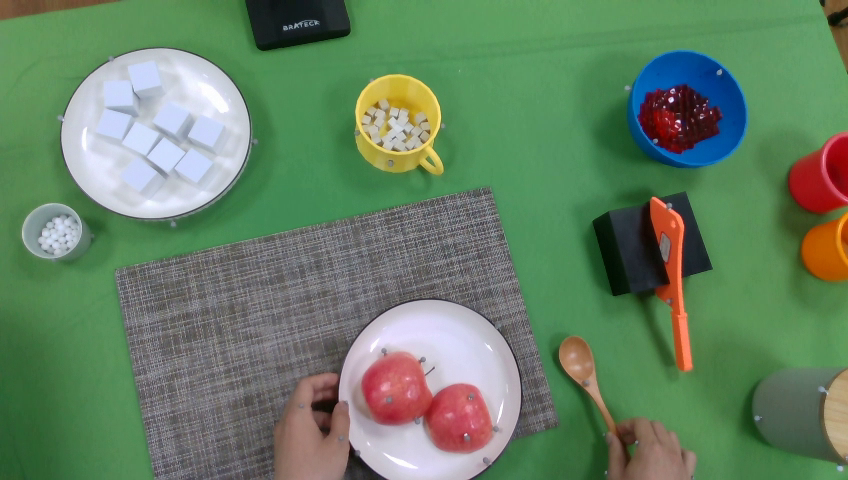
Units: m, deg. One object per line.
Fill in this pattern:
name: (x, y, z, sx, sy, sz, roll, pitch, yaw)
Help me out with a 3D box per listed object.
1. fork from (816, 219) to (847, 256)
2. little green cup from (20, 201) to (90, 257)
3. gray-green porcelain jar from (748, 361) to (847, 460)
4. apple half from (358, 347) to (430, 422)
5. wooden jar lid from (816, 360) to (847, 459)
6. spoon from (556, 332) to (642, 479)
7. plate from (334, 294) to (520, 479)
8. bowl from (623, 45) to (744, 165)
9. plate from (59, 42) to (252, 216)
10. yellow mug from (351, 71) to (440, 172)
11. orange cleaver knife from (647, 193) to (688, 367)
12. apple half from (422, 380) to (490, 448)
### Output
fork: (0.537, 0.038, 0.728, 0.028, 0.019, 0.205, 3, 36, -8)
little green cup: (-0.403, -0.009, 0.667, 0.062, 0.038, 0.061, 2, 80, -9)
gray-green porcelain jar: (0.453, 0.193, 0.701, 0.106, 0.127, 0.105, 1, 79, -7)
apple half: (-0.033, 0.160, 0.668, 0.075, 0.053, 0.080, -17, 82, -7)
wooden jar lid: (0.460, 0.180, 0.640, 0.108, 0.021, 0.108, 1, 82, -8)
spoon: (0.208, 0.199, 0.714, 0.042, 0.022, 0.192, -20, 76, -22)
plate: (0.003, 0.166, 0.687, 0.209, 0.038, 0.208, 1, 80, -8)
bowl: (0.315, -0.160, 0.771, 0.152, 0.077, 0.151, 1, 80, -7)
plate: (-0.305, -0.126, 0.703, 0.208, 0.039, 0.206, 1, 80, -7)
yellow mug: (-0.026, -0.132, 0.727, 0.100, 0.064, 0.131, -43, 88, -13)
orange cleaver knife: (0.291, 0.049, 0.728, 0.012, 0.076, 0.212, -12, 105, -6)
apple half: (0.038, 0.198, 0.679, 0.081, 0.033, 0.081, 2, 76, -6)
